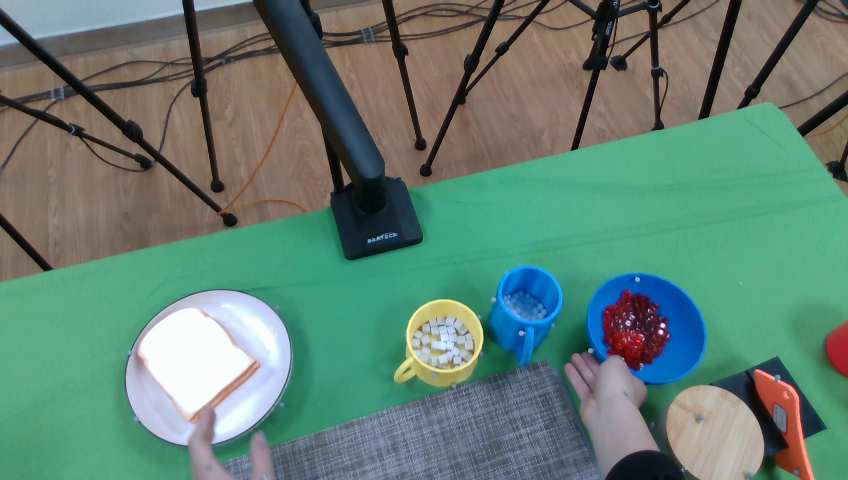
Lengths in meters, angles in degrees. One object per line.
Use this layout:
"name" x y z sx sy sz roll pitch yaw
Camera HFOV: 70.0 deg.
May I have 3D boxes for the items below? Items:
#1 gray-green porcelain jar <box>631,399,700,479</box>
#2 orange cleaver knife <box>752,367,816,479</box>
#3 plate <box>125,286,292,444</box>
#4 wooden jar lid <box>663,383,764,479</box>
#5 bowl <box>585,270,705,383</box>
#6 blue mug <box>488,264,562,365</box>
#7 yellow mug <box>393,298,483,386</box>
"gray-green porcelain jar" 0.311 0.242 0.714 0.106 0.127 0.105 1 61 -2
"orange cleaver knife" 0.446 0.258 0.735 0.012 0.077 0.211 -16 89 -10
"plate" -0.274 0.160 0.787 0.208 0.039 0.206 1 61 -2
"wooden jar lid" 0.312 0.210 0.659 0.108 0.021 0.107 2 63 -4
"bowl" 0.282 0.124 0.805 0.151 0.077 0.150 1 62 -1
"blue mug" 0.130 0.106 0.794 0.082 0.106 0.115 4 61 0
"yellow mug" 0.013 0.143 0.791 0.131 0.064 0.099 -35 67 -18
